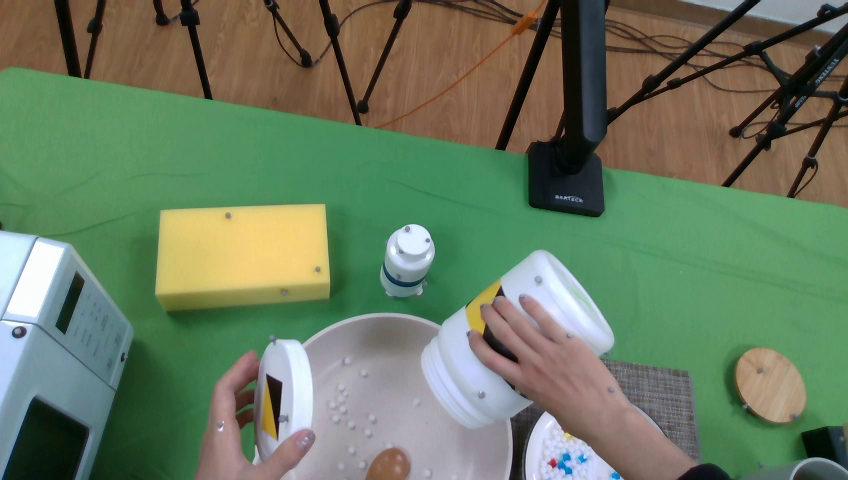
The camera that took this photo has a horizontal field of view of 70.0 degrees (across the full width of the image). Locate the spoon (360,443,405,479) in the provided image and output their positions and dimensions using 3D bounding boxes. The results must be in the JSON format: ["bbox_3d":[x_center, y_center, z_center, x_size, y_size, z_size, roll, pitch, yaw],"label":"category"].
[{"bbox_3d":[-0.086,0.289,0.670,0.041,0.021,0.194,54,38,7],"label":"spoon"}]

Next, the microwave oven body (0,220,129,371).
[{"bbox_3d":[-0.510,0.210,0.526,0.327,0.261,0.438,9,64,-7],"label":"microwave oven body"}]

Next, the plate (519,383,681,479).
[{"bbox_3d":[0.217,0.286,0.761,0.209,0.038,0.207,4,64,-8],"label":"plate"}]

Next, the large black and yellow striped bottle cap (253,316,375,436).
[{"bbox_3d":[-0.096,0.119,0.539,0.116,0.019,0.114,31,33,-22],"label":"large black and yellow striped bottle cap"}]

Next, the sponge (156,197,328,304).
[{"bbox_3d":[-0.233,0.012,0.794,0.207,0.061,0.117,-4,65,-14],"label":"sponge"}]

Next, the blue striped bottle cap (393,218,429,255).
[{"bbox_3d":[-0.016,-0.005,0.753,0.045,0.021,0.044,4,61,-7],"label":"blue striped bottle cap"}]

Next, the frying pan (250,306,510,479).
[{"bbox_3d":[-0.012,0.308,0.667,0.307,0.103,0.483,-13,60,-16],"label":"frying pan"}]

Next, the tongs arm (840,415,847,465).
[{"bbox_3d":[0.569,0.414,0.742,0.051,0.026,0.382,5,74,-11],"label":"tongs arm"}]

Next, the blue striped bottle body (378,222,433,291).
[{"bbox_3d":[-0.024,0.017,0.800,0.063,0.121,0.062,5,64,-9],"label":"blue striped bottle body"}]

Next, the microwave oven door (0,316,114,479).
[{"bbox_3d":[-0.370,0.268,0.520,0.039,0.245,0.353,9,63,-7],"label":"microwave oven door"}]

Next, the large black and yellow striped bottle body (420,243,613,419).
[{"bbox_3d":[0.098,0.105,0.674,0.184,0.131,0.130,-39,72,16],"label":"large black and yellow striped bottle body"}]

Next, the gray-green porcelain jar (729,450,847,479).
[{"bbox_3d":[0.448,0.320,0.744,0.106,0.127,0.105,4,63,-9],"label":"gray-green porcelain jar"}]

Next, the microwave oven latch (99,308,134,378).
[{"bbox_3d":[-0.363,0.119,0.708,0.030,0.029,0.078,9,64,-7],"label":"microwave oven latch"}]

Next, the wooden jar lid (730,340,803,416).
[{"bbox_3d":[0.489,0.199,0.871,0.108,0.021,0.107,4,65,-9],"label":"wooden jar lid"}]
